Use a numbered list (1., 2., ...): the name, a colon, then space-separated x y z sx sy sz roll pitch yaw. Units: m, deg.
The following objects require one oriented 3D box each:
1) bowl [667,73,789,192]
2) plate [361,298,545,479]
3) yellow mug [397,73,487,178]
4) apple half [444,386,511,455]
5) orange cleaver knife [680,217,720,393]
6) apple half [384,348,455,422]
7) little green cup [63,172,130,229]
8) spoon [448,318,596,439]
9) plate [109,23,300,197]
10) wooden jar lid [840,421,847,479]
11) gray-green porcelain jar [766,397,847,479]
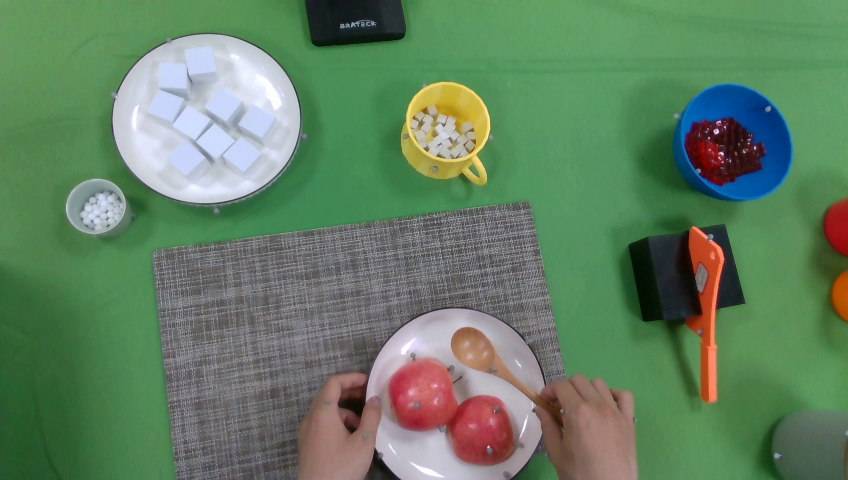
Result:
1. bowl: 0.371 -0.126 0.773 0.152 0.077 0.151 1 81 -8
2. plate: 0.031 0.171 0.688 0.209 0.038 0.208 2 80 -8
3. yellow mug: 0.029 -0.128 0.729 0.100 0.064 0.131 -38 88 -13
4. apple half: 0.063 0.205 0.680 0.081 0.033 0.081 2 77 -8
5. orange cleaver knife: 0.329 0.079 0.730 0.012 0.076 0.212 -7 105 -6
6. apple half: -0.005 0.162 0.668 0.075 0.053 0.080 -11 82 -8
7. little green cup: -0.357 -0.040 0.667 0.062 0.038 0.061 2 80 -10
8. spoon: 0.105 0.152 0.652 0.193 0.022 0.041 38 75 8
9. plate: -0.249 -0.148 0.704 0.208 0.039 0.207 2 80 -8
10. wooden jar lid: 0.485 0.226 0.642 0.108 0.021 0.108 1 82 -9
11. gray-green porcelain jar: 0.477 0.238 0.703 0.106 0.126 0.105 2 79 -8
